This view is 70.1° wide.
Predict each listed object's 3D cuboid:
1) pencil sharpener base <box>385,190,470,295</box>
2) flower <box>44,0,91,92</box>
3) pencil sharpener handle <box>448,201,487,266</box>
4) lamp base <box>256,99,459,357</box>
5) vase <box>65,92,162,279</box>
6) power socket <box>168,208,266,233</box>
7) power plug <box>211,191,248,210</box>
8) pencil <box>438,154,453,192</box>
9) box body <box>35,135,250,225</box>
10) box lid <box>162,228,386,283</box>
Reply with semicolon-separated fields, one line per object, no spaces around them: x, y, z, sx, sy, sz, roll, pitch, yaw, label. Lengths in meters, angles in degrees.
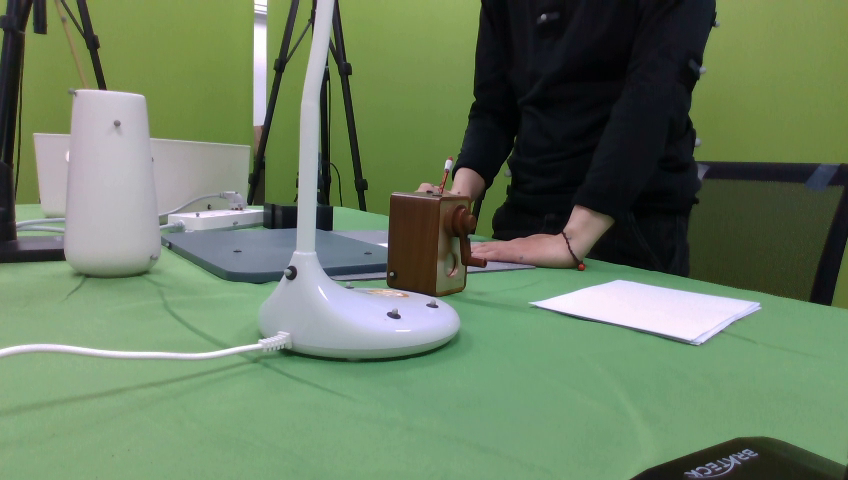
0.006;0.001;0.653;0.076;0.107;0.061;8;9;37;pencil sharpener base
-0.361;-0.142;0.663;0.044;0.361;0.038;-12;11;31;flower
0.049;-0.006;0.623;0.030;0.068;0.036;8;22;37;pencil sharpener handle
-0.055;-0.013;0.463;0.160;0.180;0.180;6;11;27;lamp base
-0.347;-0.060;0.673;0.098;0.200;0.098;1;7;0;vase
-0.379;-0.038;1.129;0.072;0.032;0.227;4;8;18;power socket
-0.384;-0.071;1.205;0.072;0.052;0.035;1;9;28;power plug
0.023;-0.071;1.021;0.012;0.194;0.012;12;-32;8;pencil
-0.559;-0.127;1.257;0.253;0.160;0.365;4;8;15;box body
-0.200;0.014;0.861;0.265;0.015;0.369;-4;10;-35;box lid
